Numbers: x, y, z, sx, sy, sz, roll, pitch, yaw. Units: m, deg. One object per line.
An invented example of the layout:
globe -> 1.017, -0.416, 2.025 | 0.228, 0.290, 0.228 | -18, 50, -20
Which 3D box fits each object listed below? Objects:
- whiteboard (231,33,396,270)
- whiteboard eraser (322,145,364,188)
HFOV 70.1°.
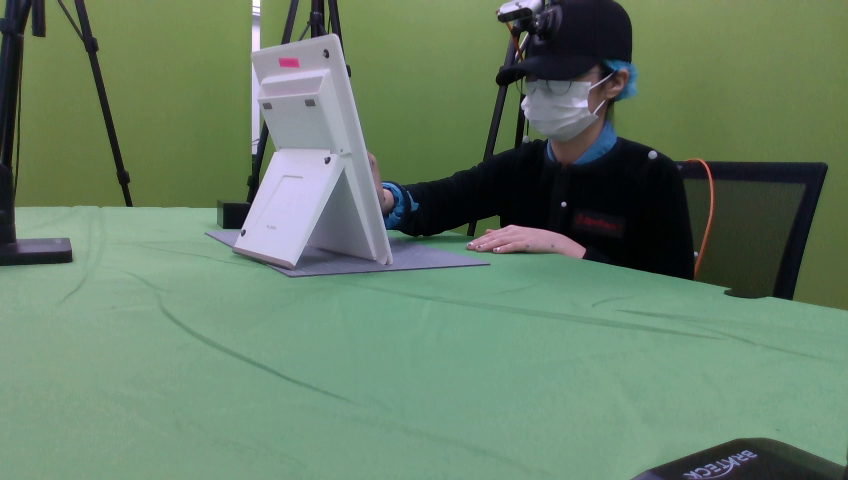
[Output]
whiteboard -> -0.193, -0.094, 0.805 | 0.144, 0.305, 0.216 | -29, 25, -35
whiteboard eraser -> -0.113, -0.100, 0.836 | 0.019, 0.041, 0.101 | -26, 4, -33
